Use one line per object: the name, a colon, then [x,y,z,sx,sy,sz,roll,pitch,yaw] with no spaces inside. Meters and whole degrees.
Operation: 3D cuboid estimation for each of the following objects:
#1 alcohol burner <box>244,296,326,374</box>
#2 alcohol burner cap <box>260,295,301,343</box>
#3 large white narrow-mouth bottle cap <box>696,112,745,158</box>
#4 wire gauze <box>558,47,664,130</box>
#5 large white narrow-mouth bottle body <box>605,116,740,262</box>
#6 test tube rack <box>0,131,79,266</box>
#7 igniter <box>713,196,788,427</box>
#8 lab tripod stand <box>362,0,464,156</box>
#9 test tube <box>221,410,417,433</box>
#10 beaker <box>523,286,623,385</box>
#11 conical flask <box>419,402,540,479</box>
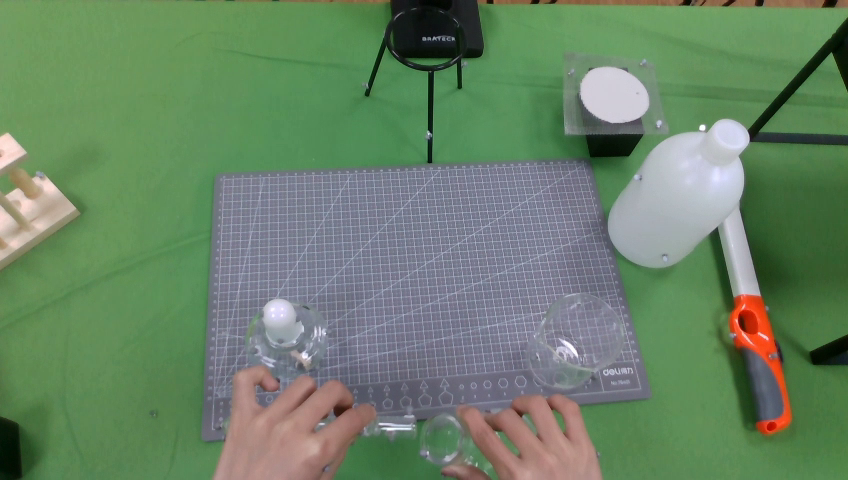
alcohol burner: [-0.132,0.083,0.569,0.078,0.120,0.077,3,63,-6]
alcohol burner cap: [-0.129,0.068,0.537,0.034,0.048,0.033,1,59,-2]
large white narrow-mouth bottle cap: [0.270,-0.097,0.555,0.038,0.024,0.037,2,64,-4]
wire gauze: [0.224,-0.184,0.737,0.121,0.011,0.124,3,64,-3]
large white narrow-mouth bottle body: [0.265,-0.058,0.632,0.102,0.196,0.101,2,64,-3]
test tube rack: [-0.482,0.006,0.592,0.066,0.086,0.242,41,68,14]
igniter: [0.357,0.067,0.674,0.057,0.025,0.274,7,63,-13]
lab tripod stand: [-0.004,-0.193,0.705,0.148,0.132,0.147,3,65,-6]
test tube: [-0.080,0.134,0.449,0.150,0.017,0.017,-3,64,10]
beaker: [0.138,0.099,0.595,0.084,0.101,0.073,-7,64,-7]
conical flask: [0.041,0.163,0.494,0.075,0.123,0.075,-13,63,26]
